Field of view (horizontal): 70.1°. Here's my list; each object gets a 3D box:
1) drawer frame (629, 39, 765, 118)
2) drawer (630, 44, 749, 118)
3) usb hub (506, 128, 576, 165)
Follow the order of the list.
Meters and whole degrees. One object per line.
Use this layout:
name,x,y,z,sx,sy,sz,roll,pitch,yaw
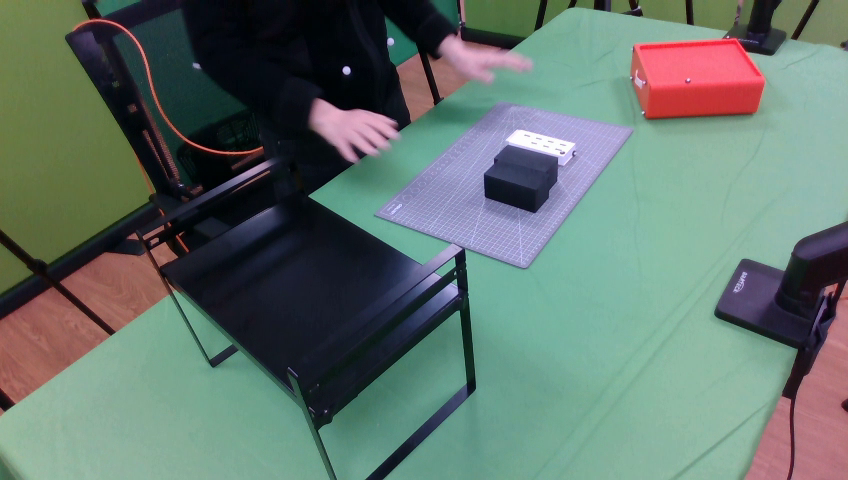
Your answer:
drawer frame,0.543,-0.332,1.233,0.213,0.083,0.201,-1,41,6
drawer,0.542,-0.329,1.236,0.211,0.073,0.193,0,41,6
usb hub,0.219,-0.177,1.142,0.124,0.025,0.049,21,49,30
